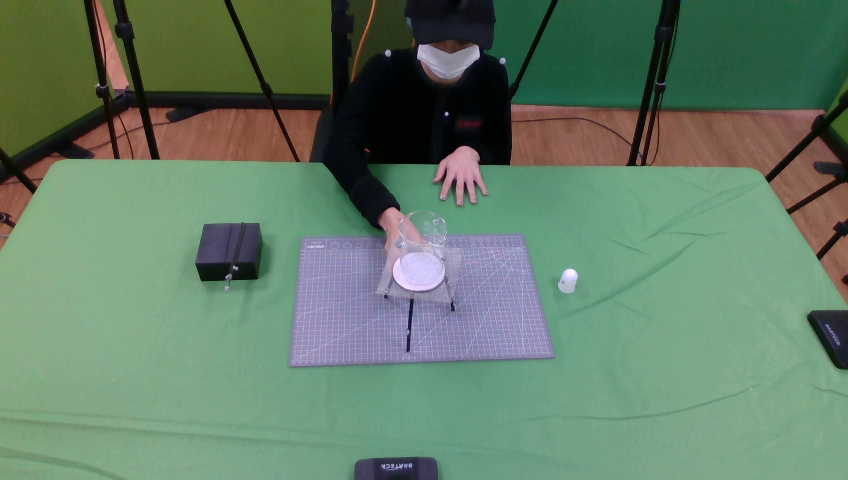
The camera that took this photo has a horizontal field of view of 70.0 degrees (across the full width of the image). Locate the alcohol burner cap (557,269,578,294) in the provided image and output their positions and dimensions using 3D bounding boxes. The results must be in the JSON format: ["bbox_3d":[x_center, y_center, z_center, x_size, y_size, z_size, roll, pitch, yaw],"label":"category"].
[{"bbox_3d":[0.270,0.075,1.135,0.034,0.048,0.033,3,46,-3],"label":"alcohol burner cap"}]

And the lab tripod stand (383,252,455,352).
[{"bbox_3d":[-0.015,0.094,1.025,0.148,0.132,0.147,1,46,-1],"label":"lab tripod stand"}]

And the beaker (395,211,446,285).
[{"bbox_3d":[-0.002,0.017,0.941,0.083,0.101,0.074,36,54,29],"label":"beaker"}]

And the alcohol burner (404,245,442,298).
[{"bbox_3d":[0.004,0.048,1.080,0.078,0.119,0.077,5,49,-5],"label":"alcohol burner"}]

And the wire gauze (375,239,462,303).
[{"bbox_3d":[-0.006,0.049,0.978,0.121,0.011,0.124,10,44,5],"label":"wire gauze"}]

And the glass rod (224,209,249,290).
[{"bbox_3d":[-0.340,0.013,1.102,0.008,0.008,0.198,2,45,-3],"label":"glass rod"}]
